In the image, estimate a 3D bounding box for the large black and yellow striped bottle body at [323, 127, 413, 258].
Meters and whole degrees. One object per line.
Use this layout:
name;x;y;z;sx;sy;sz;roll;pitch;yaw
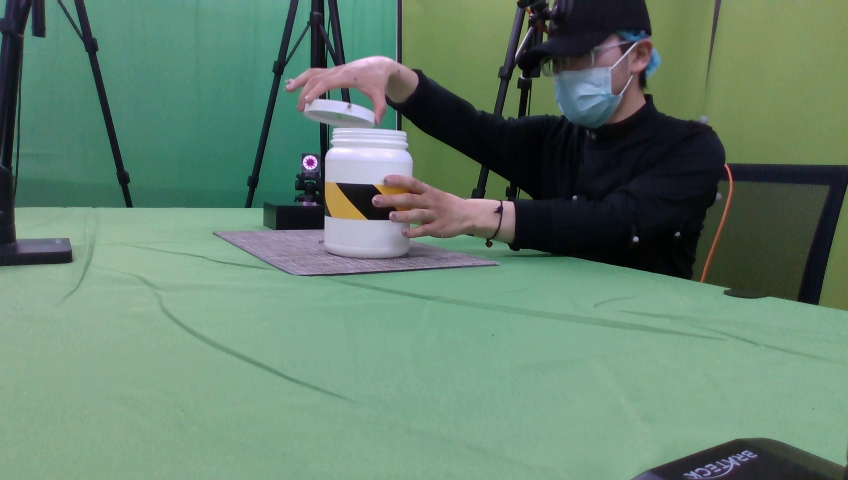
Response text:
large black and yellow striped bottle body;-0.083;-0.073;0.900;0.131;0.184;0.130;2;7;0

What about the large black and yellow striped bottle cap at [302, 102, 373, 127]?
large black and yellow striped bottle cap;-0.139;-0.201;0.979;0.115;0.019;0.115;7;1;0
